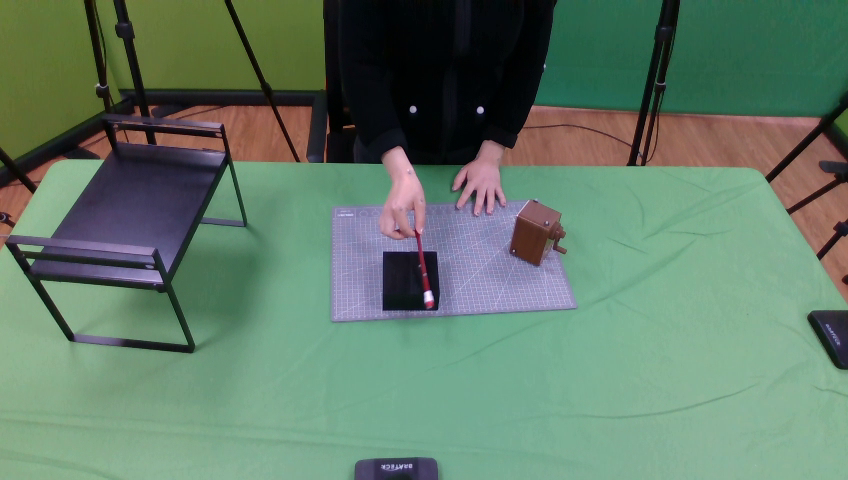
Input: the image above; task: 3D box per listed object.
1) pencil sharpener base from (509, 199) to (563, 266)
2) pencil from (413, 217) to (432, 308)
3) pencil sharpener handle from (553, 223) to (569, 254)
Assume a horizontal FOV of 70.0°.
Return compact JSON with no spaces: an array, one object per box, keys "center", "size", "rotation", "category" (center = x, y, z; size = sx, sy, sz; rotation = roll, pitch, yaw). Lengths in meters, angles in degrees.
[{"center":[0.216,-0.012,1.160],"size":[0.076,0.107,0.061],"rotation":[27,50,20],"category":"pencil sharpener base"},{"center":[-0.005,0.036,1.077],"size":[0.012,0.012,0.193],"rotation":[-5,56,-8],"category":"pencil"},{"center":[0.260,-0.001,1.135],"size":[0.030,0.068,0.036],"rotation":[27,58,20],"category":"pencil sharpener handle"}]
